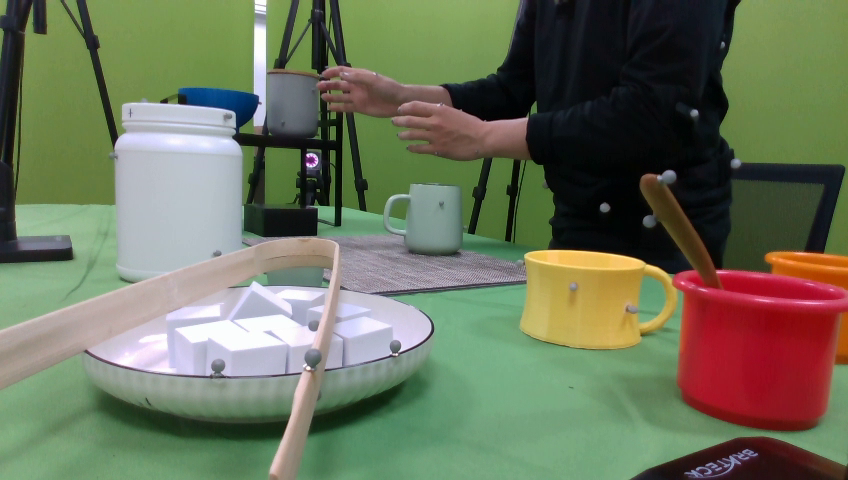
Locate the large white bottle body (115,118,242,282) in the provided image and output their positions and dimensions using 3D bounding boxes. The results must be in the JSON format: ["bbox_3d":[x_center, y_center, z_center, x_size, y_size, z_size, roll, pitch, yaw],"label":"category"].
[{"bbox_3d":[-0.270,-0.051,0.673,0.131,0.184,0.130,2,8,0],"label":"large white bottle body"}]

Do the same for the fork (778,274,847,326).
[{"bbox_3d":[0.332,0.019,0.443,0.028,0.018,0.207,-3,-35,-16],"label":"fork"}]

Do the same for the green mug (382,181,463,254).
[{"bbox_3d":[-0.001,-0.036,0.922,0.126,0.105,0.092,0,8,-16],"label":"green mug"}]

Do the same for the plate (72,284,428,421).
[{"bbox_3d":[-0.102,0.067,0.381,0.208,0.039,0.207,3,7,0],"label":"plate"}]

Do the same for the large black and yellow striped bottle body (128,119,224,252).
[{"bbox_3d":[-0.361,-0.081,0.887,0.131,0.184,0.130,2,8,0],"label":"large black and yellow striped bottle body"}]

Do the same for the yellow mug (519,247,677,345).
[{"bbox_3d":[0.148,0.045,0.513,0.131,0.064,0.100,3,7,0],"label":"yellow mug"}]

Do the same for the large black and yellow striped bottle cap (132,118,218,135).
[{"bbox_3d":[-0.359,-0.164,0.875,0.115,0.019,0.115,2,6,0],"label":"large black and yellow striped bottle cap"}]

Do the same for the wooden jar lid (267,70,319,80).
[{"bbox_3d":[-0.275,-0.339,1.271,0.108,0.020,0.108,5,6,0],"label":"wooden jar lid"}]

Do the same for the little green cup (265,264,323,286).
[{"bbox_3d":[-0.134,0.033,0.628,0.061,0.038,0.061,3,7,0],"label":"little green cup"}]

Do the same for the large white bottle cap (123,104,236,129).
[{"bbox_3d":[-0.266,-0.134,0.663,0.115,0.018,0.115,3,7,0],"label":"large white bottle cap"}]

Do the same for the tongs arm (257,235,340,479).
[{"bbox_3d":[-0.074,0.040,0.345,0.051,0.026,0.384,-1,10,-3],"label":"tongs arm"}]

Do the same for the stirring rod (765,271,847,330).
[{"bbox_3d":[0.352,0.020,0.481,0.176,0.006,0.014,-40,-8,17],"label":"stirring rod"}]

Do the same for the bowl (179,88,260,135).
[{"bbox_3d":[-0.400,-0.248,1.188,0.151,0.077,0.151,2,6,0],"label":"bowl"}]

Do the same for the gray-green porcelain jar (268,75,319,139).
[{"bbox_3d":[-0.277,-0.279,1.280,0.106,0.126,0.106,2,8,0],"label":"gray-green porcelain jar"}]

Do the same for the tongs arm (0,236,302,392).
[{"bbox_3d":[-0.157,0.038,0.347,0.028,0.028,0.388,-3,8,11],"label":"tongs arm"}]

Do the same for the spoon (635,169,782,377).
[{"bbox_3d":[0.161,0.026,0.346,0.021,0.194,0.041,-51,32,-19],"label":"spoon"}]
